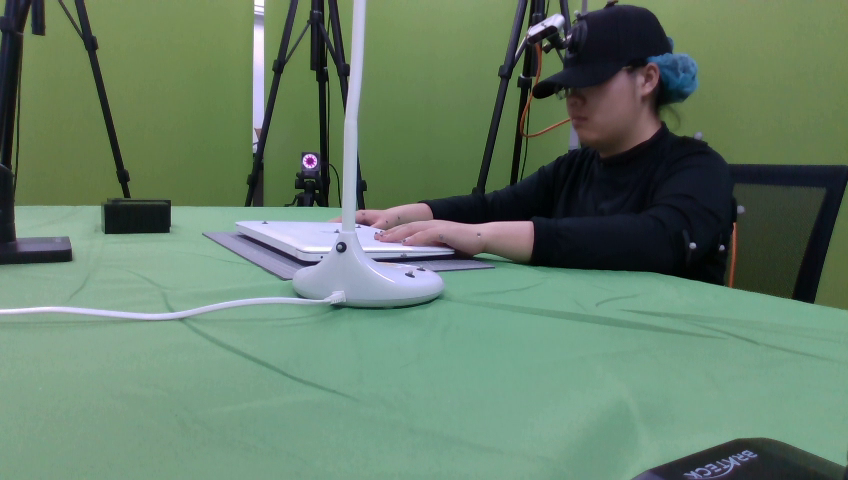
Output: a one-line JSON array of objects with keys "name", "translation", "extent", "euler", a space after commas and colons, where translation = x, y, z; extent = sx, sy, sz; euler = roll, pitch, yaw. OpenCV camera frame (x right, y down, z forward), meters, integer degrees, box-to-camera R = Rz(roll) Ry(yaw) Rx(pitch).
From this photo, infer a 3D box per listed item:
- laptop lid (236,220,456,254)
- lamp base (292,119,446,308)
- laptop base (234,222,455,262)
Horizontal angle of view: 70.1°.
[{"name": "laptop lid", "translation": [-0.139, -0.008, 0.958], "extent": [0.243, 0.013, 0.355], "euler": [1, 7, -30]}, {"name": "lamp base", "translation": [-0.056, -0.030, 0.616], "extent": [0.160, 0.180, 0.179], "euler": [4, 10, 8]}, {"name": "laptop base", "translation": [-0.142, 0.003, 0.959], "extent": [0.237, 0.023, 0.352], "euler": [3, 6, -32]}]
